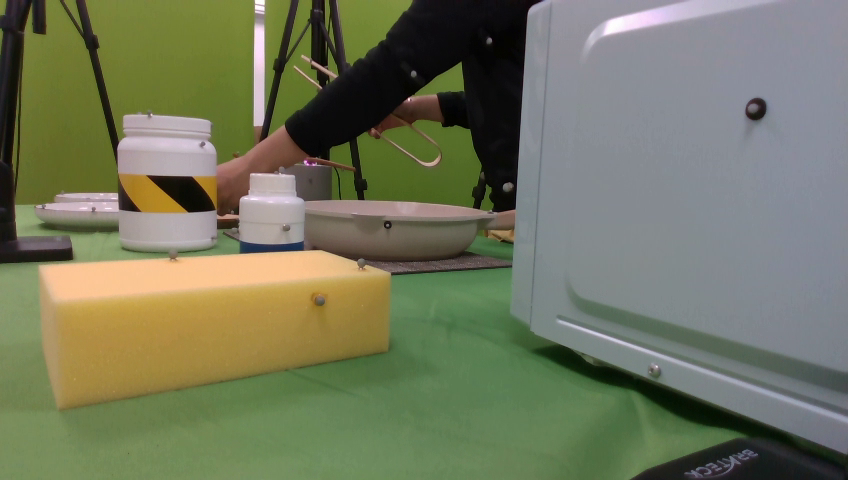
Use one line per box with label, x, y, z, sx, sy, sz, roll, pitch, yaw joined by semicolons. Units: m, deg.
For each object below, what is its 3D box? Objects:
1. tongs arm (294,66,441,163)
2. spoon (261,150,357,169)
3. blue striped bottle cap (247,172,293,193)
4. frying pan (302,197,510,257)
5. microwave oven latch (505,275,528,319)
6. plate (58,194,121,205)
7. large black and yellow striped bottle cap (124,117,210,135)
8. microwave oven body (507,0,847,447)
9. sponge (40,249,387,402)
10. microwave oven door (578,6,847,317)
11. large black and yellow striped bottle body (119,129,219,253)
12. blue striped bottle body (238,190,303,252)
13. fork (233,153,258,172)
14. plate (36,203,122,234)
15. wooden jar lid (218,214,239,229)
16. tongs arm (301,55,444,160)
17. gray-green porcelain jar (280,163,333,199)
tongs arm;-0.124;-0.277;1.368;0.389;0.028;0.027;32;11;-21
spoon;-0.231;-0.162;1.221;0.194;0.021;0.041;4;4;-15
blue striped bottle cap;-0.152;-0.057;0.598;0.044;0.020;0.044;3;7;0
frying pan;0.051;-0.035;0.915;0.487;0.102;0.307;-5;7;10
microwave oven latch;0.100;0.041;0.471;0.079;0.029;0.030;-1;7;-28
plate;-0.671;-0.074;1.310;0.209;0.038;0.209;2;8;0
large black and yellow striped bottle cap;-0.366;-0.163;0.866;0.115;0.019;0.115;3;7;0
microwave oven body;0.331;-0.042;0.425;0.444;0.260;0.324;-2;8;-31
sponge;-0.142;0.047;0.420;0.208;0.061;0.117;-3;8;-36
microwave oven door;0.294;-0.067;0.570;0.358;0.243;0.039;-3;9;-31
large black and yellow striped bottle body;-0.367;-0.080;0.876;0.131;0.184;0.130;1;7;0
blue striped bottle body;-0.153;-0.007;0.606;0.063;0.120;0.063;2;8;0
fork;-0.396;-0.143;1.486;0.028;0.018;0.208;21;-25;45
plate;-0.571;-0.040;1.082;0.208;0.039;0.207;2;8;0
wooden jar lid;-0.404;-0.037;1.169;0.108;0.020;0.108;4;7;0
tongs arm;-0.111;-0.293;1.363;0.386;0.050;0.026;26;16;-20
gray-green porcelain jar;-0.238;-0.091;1.221;0.106;0.126;0.106;2;7;0
